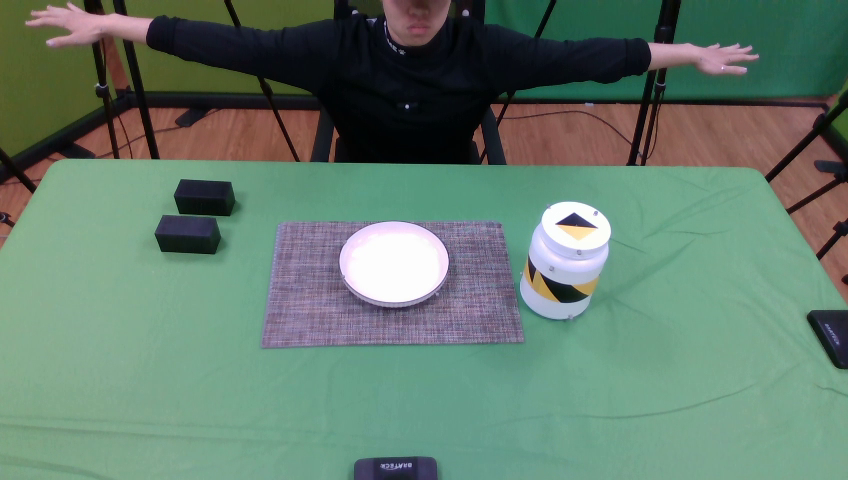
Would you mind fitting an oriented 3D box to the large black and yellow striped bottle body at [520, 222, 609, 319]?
[{"bbox_3d":[0.247,0.038,1.065,0.131,0.185,0.130,2,46,-2],"label":"large black and yellow striped bottle body"}]

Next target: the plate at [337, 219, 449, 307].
[{"bbox_3d":[-0.057,0.045,1.133,0.208,0.039,0.206,2,46,-2],"label":"plate"}]

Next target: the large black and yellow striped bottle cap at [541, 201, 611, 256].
[{"bbox_3d":[0.252,-0.021,1.004,0.115,0.019,0.114,1,47,-1],"label":"large black and yellow striped bottle cap"}]
